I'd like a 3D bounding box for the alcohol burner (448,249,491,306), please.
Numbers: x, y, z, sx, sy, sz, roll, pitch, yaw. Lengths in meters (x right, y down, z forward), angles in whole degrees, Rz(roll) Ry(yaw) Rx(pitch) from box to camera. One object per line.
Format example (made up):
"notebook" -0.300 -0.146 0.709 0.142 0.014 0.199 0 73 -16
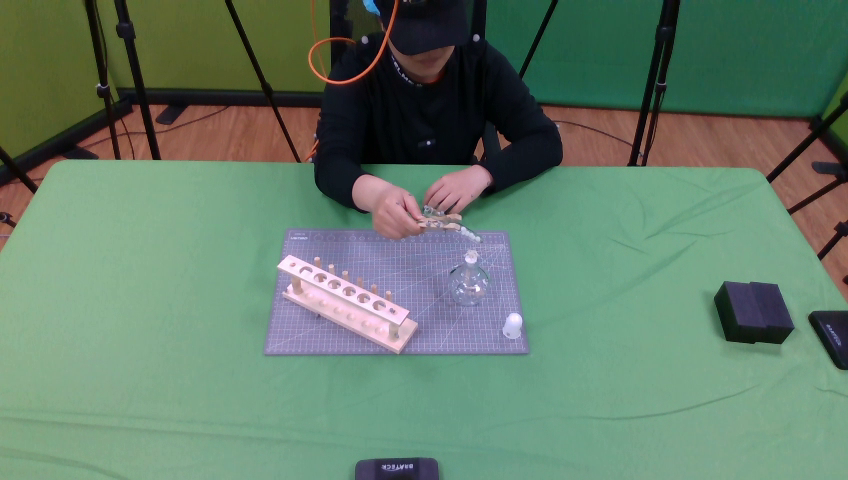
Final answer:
"alcohol burner" 0.081 0.062 1.078 0.078 0.120 0.077 1 45 -1

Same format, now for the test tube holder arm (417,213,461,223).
"test tube holder arm" 0.023 -0.033 0.965 0.015 0.087 0.010 18 73 -41

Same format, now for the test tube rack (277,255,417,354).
"test tube rack" -0.131 0.099 1.045 0.241 0.085 0.066 23 49 17

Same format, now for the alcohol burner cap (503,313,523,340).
"alcohol burner cap" 0.156 0.148 1.051 0.034 0.048 0.033 1 45 -1

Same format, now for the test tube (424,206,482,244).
"test tube" 0.049 -0.022 0.962 0.017 0.151 0.017 -15 63 33

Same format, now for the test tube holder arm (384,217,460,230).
"test tube holder arm" -0.008 -0.028 0.998 0.177 0.015 0.013 6 80 48
